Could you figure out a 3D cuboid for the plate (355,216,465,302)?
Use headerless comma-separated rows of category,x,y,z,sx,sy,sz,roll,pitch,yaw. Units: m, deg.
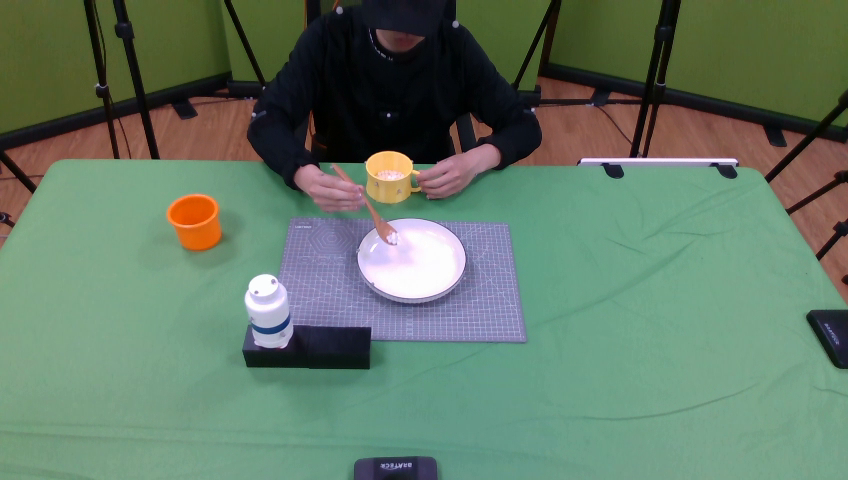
plate,-0.027,0.039,1.144,0.208,0.039,0.206,2,46,-2

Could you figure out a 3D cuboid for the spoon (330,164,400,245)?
spoon,-0.109,-0.066,1.117,0.021,0.194,0.041,-18,26,41

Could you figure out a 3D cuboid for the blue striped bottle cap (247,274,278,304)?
blue striped bottle cap,-0.239,0.072,0.900,0.044,0.021,0.044,4,46,-4

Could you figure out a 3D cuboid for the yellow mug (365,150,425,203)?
yellow mug,-0.061,-0.133,1.291,0.131,0.064,0.099,9,46,3

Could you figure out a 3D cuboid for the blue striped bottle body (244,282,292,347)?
blue striped bottle body,-0.241,0.108,0.937,0.063,0.121,0.062,2,46,-2
